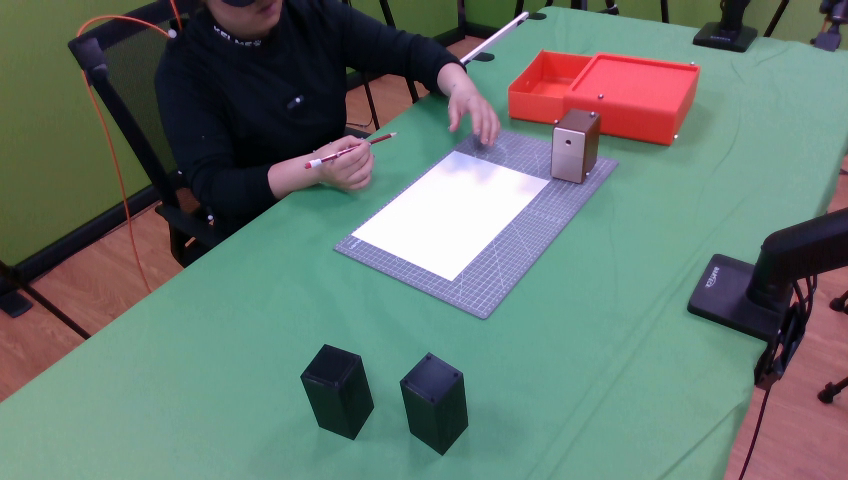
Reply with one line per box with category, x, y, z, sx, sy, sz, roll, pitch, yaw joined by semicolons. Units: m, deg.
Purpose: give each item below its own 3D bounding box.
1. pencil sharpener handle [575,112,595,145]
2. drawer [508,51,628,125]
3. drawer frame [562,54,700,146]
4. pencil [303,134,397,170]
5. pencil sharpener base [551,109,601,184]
pencil sharpener handle;0.290;-0.203;1.077;0.036;0.068;0.031;20;47;25
drawer;0.304;-0.309;1.246;0.210;0.073;0.195;16;45;25
drawer frame;0.407;-0.282;1.195;0.212;0.083;0.202;17;45;25
pencil;-0.124;-0.156;1.052;0.195;0.012;0.012;-26;43;-30
pencil sharpener base;0.265;-0.163;1.053;0.061;0.107;0.077;17;46;27
